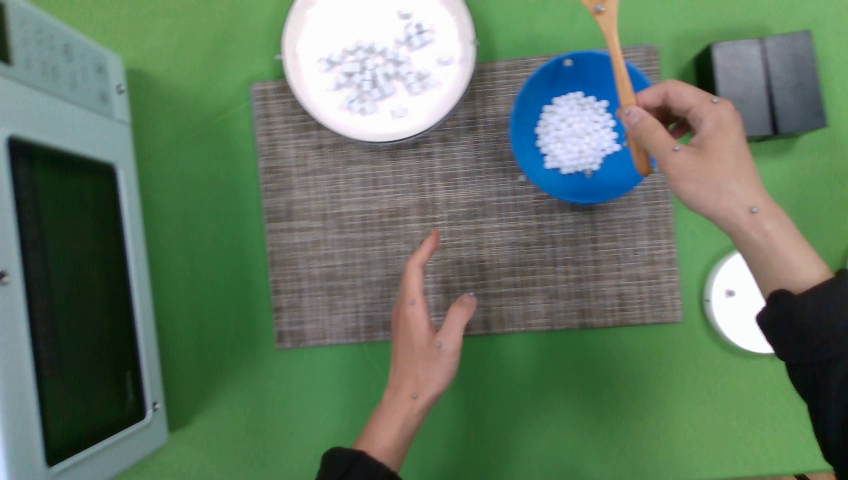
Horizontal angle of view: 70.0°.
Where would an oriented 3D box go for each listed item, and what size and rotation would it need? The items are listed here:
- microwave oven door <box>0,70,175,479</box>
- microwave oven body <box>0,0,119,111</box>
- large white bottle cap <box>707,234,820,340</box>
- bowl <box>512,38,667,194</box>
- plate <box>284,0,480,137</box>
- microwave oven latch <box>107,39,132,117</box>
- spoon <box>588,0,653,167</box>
[{"bbox_3d":[-0.320,0.043,0.554,0.039,0.244,0.355,-7,90,3],"label":"microwave oven door"},{"bbox_3d":[-0.470,0.019,0.565,0.326,0.260,0.441,-7,90,2],"label":"microwave oven body"},{"bbox_3d":[0.364,0.050,0.651,0.115,0.018,0.115,0,91,1],"label":"large white bottle cap"},{"bbox_3d":[0.163,-0.119,0.626,0.151,0.077,0.151,0,90,3],"label":"bowl"},{"bbox_3d":[-0.044,-0.211,0.656,0.209,0.038,0.208,0,87,3],"label":"plate"},{"bbox_3d":[-0.339,-0.173,0.655,0.030,0.029,0.079,-7,91,2],"label":"microwave oven latch"},{"bbox_3d":[0.152,-0.151,0.478,0.041,0.021,0.194,-15,98,12],"label":"spoon"}]
